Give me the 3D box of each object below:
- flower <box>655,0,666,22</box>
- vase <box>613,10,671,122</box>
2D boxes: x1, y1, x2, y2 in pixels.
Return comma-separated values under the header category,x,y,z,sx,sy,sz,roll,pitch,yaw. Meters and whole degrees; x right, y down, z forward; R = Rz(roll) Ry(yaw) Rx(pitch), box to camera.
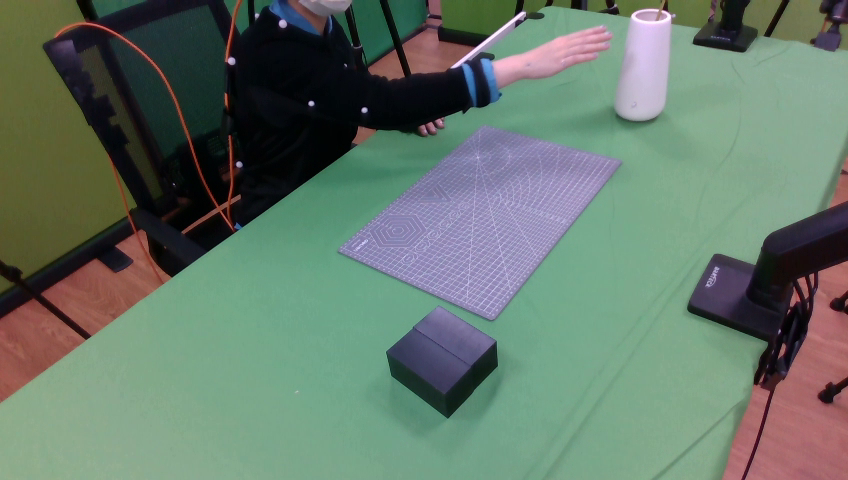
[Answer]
category,x,y,z,sx,sy,sz,roll,pitch,yaw
flower,0.427,-0.398,1.108,0.038,0.362,0.043,-2,32,-21
vase,0.419,-0.326,1.151,0.098,0.201,0.097,-4,42,4
